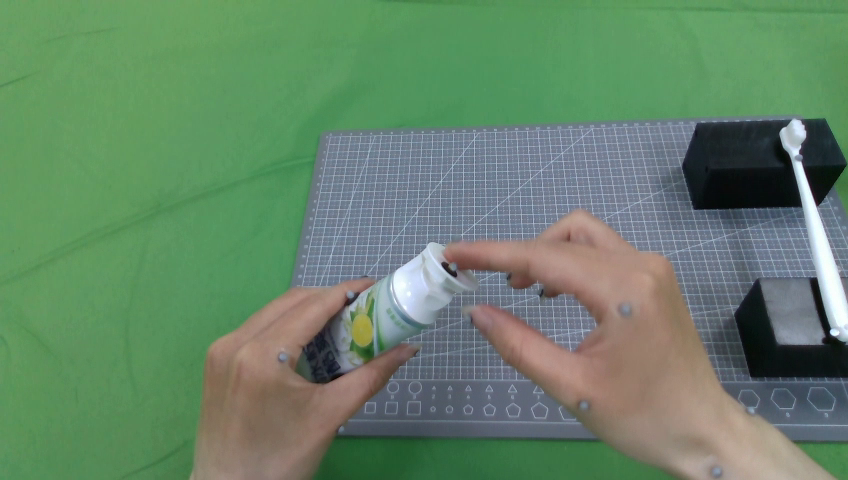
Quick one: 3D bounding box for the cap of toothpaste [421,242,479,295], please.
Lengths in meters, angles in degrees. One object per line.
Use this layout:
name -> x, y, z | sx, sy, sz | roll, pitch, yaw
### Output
cap of toothpaste -> 0.012, 0.017, 0.314 | 0.011, 0.037, 0.037 | -50, 56, 16

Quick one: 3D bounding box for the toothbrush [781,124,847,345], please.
toothbrush -> 0.272, -0.012, 0.418 | 0.014, 0.017, 0.180 | 12, 57, -4

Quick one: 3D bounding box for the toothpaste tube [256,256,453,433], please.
toothpaste tube -> -0.046, 0.059, 0.357 | 0.165, 0.035, 0.054 | -37, 66, 30
